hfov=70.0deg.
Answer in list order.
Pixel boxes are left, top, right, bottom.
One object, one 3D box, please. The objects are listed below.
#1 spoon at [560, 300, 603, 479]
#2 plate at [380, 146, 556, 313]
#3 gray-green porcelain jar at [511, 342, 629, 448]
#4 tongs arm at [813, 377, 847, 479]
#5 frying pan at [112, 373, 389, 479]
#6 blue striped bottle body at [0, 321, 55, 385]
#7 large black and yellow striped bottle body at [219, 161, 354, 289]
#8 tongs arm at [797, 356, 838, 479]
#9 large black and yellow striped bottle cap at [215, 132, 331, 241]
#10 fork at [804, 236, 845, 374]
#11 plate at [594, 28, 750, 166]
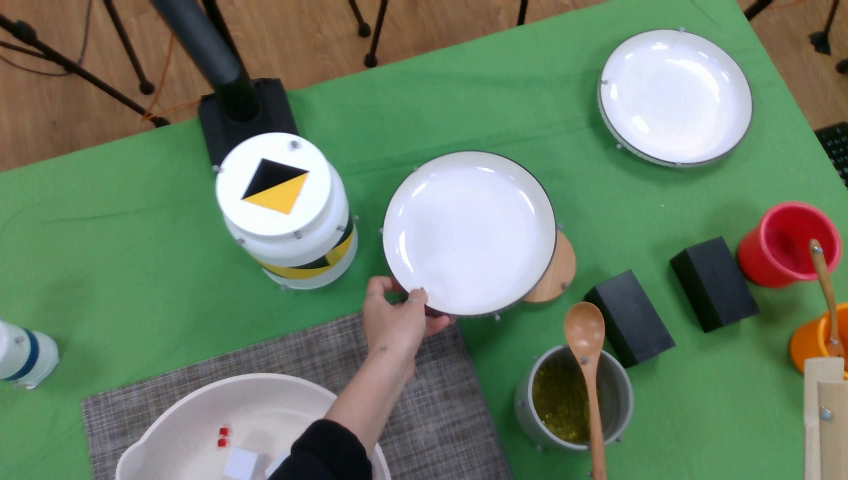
[{"bbox_3d":[0.161,0.156,0.593,0.042,0.022,0.192,0,75,-7],"label":"spoon"},{"bbox_3d":[0.052,-0.012,0.727,0.207,0.039,0.206,-2,72,7],"label":"plate"},{"bbox_3d":[0.152,0.172,0.662,0.106,0.127,0.105,0,71,-1],"label":"gray-green porcelain jar"},{"bbox_3d":[0.296,0.273,0.437,0.026,0.051,0.385,-6,99,14],"label":"tongs arm"},{"bbox_3d":[-0.217,0.376,0.598,0.306,0.103,0.485,22,65,7],"label":"frying pan"},{"bbox_3d":[-0.474,0.123,0.672,0.063,0.121,0.062,0,71,0],"label":"blue striped bottle body"},{"bbox_3d":[-0.154,-0.028,0.693,0.131,0.185,0.130,0,71,0],"label":"large black and yellow striped bottle body"},{"bbox_3d":[0.301,0.267,0.458,0.028,0.028,0.389,-7,103,11],"label":"tongs arm"},{"bbox_3d":[-0.152,-0.056,0.614,0.115,0.019,0.114,0,73,-1],"label":"large black and yellow striped bottle cap"},{"bbox_3d":[0.452,0.078,0.684,0.028,0.018,0.209,-30,119,-2],"label":"fork"},{"bbox_3d":[0.335,-0.192,0.830,0.209,0.038,0.208,0,72,0],"label":"plate"}]
